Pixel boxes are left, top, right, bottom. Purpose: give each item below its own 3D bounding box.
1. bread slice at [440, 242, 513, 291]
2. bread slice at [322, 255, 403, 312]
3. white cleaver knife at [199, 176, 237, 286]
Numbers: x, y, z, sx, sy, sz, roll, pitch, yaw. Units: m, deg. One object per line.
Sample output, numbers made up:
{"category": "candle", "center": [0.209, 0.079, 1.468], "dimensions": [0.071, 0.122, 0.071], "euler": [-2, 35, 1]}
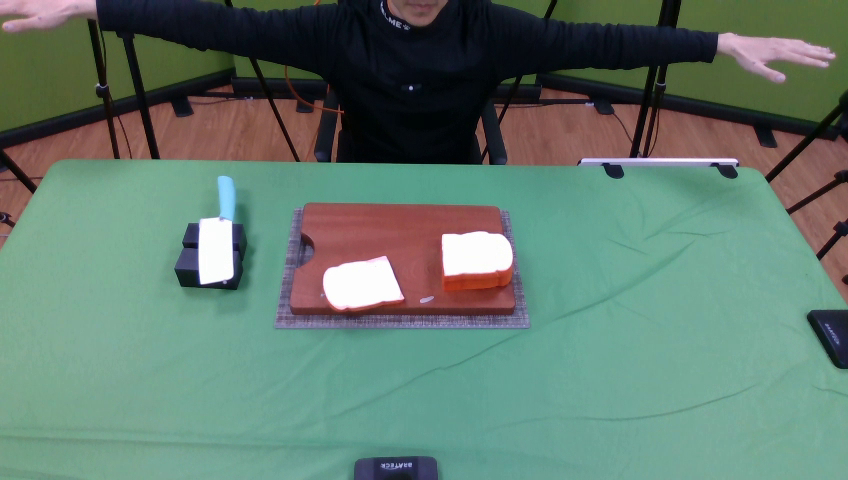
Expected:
{"category": "bread slice", "center": [0.096, 0.047, 1.116], "dimensions": [0.134, 0.018, 0.106], "euler": [-1, 49, 2]}
{"category": "bread slice", "center": [-0.114, 0.080, 1.068], "dimensions": [0.132, 0.019, 0.104], "euler": [-10, 51, -18]}
{"category": "white cleaver knife", "center": [-0.386, -0.026, 1.134], "dimensions": [0.066, 0.021, 0.284], "euler": [-6, 45, -11]}
